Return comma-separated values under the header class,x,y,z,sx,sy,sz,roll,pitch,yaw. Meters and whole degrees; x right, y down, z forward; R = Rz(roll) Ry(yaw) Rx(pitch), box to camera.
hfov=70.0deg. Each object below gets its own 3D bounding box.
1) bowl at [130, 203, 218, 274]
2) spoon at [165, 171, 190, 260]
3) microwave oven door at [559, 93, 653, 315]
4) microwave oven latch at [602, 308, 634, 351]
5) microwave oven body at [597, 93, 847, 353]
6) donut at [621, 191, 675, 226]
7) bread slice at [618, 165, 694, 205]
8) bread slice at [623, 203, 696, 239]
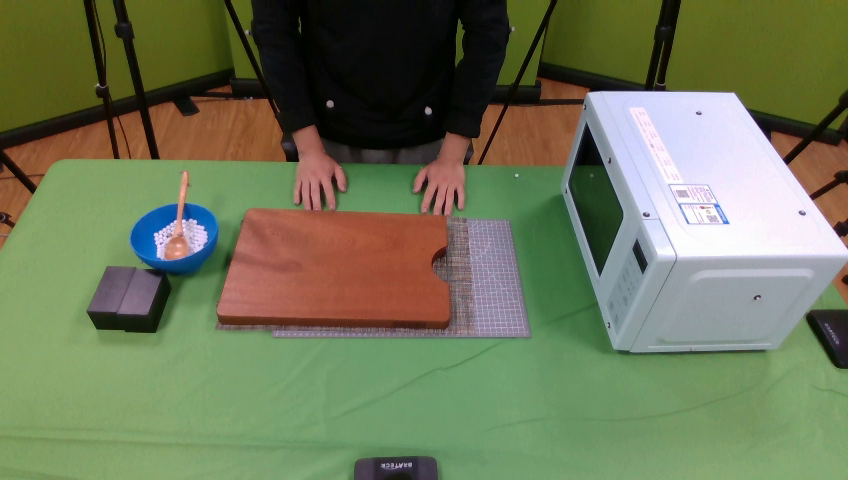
class,x,y,z,sx,sy,sz,roll,pitch,yaw
bowl,-0.450,0.010,1.117,0.151,0.077,0.150,3,45,-3
spoon,-0.452,-0.046,1.129,0.041,0.022,0.193,-1,69,-2
microwave oven door,0.327,-0.074,1.123,0.039,0.245,0.353,-1,46,-5
microwave oven latch,0.332,0.153,1.044,0.030,0.029,0.078,-1,45,-4
microwave oven body,0.475,-0.041,1.110,0.326,0.261,0.438,-1,45,-4
donut,0.434,-0.061,1.174,0.099,0.048,0.098,-7,27,4
bread slice,0.444,-0.104,1.149,0.135,0.018,0.106,0,41,-24
bread slice,0.466,-0.041,1.200,0.131,0.019,0.104,-2,37,9
